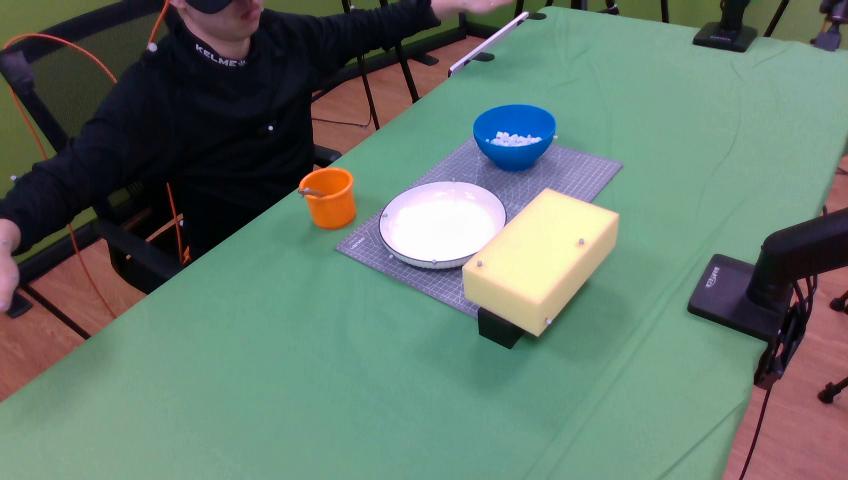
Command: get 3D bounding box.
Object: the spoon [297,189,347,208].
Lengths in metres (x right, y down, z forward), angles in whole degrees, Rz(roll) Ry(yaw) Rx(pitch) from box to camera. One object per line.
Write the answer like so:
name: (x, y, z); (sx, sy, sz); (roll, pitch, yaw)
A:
spoon: (-0.169, -0.069, 0.979); (0.041, 0.194, 0.021); (0, 85, 10)

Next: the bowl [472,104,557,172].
bowl: (0.165, -0.178, 1.105); (0.151, 0.077, 0.150); (-4, 40, 4)

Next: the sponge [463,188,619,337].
sponge: (0.160, 0.022, 0.814); (0.117, 0.061, 0.207); (24, 50, 32)

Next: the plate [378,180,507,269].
plate: (0.031, -0.022, 0.974); (0.209, 0.038, 0.208); (-4, 40, 4)
